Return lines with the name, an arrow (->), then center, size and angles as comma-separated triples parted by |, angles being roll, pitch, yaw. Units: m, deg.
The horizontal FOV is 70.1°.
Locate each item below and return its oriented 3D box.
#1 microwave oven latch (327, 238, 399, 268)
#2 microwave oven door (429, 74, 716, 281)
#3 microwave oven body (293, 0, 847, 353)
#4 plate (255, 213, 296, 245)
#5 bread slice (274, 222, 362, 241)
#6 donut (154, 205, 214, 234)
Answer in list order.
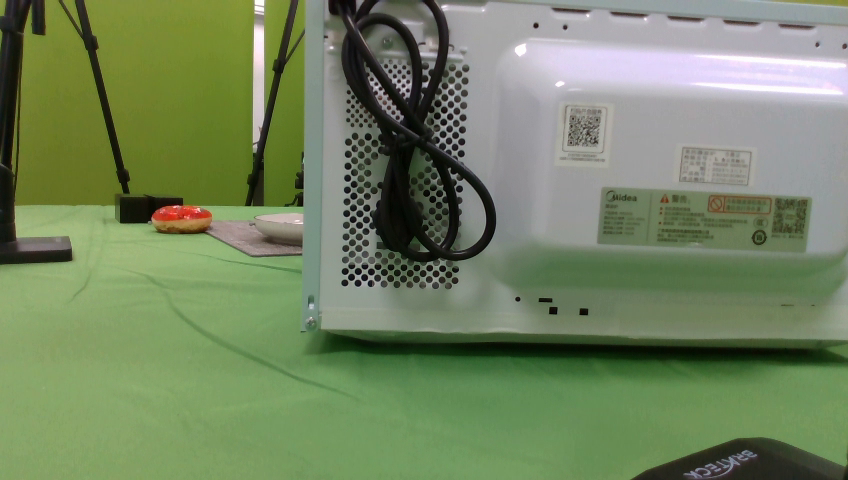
microwave oven latch -> -0.069, 0.015, 0.694 | 0.079, 0.029, 0.030 | 3, 7, -3
microwave oven door -> 0.175, -0.088, 0.787 | 0.354, 0.243, 0.039 | 6, 9, 26
microwave oven body -> 0.122, -0.055, 0.550 | 0.442, 0.260, 0.325 | 3, 7, -5
plate -> -0.177, -0.017, 1.017 | 0.208, 0.039, 0.207 | 2, 7, 0
bread slice -> -0.181, -0.016, 1.011 | 0.104, 0.019, 0.132 | 6, 8, 27
donut -> -0.426, -0.037, 1.075 | 0.099, 0.048, 0.099 | 2, 12, 0
